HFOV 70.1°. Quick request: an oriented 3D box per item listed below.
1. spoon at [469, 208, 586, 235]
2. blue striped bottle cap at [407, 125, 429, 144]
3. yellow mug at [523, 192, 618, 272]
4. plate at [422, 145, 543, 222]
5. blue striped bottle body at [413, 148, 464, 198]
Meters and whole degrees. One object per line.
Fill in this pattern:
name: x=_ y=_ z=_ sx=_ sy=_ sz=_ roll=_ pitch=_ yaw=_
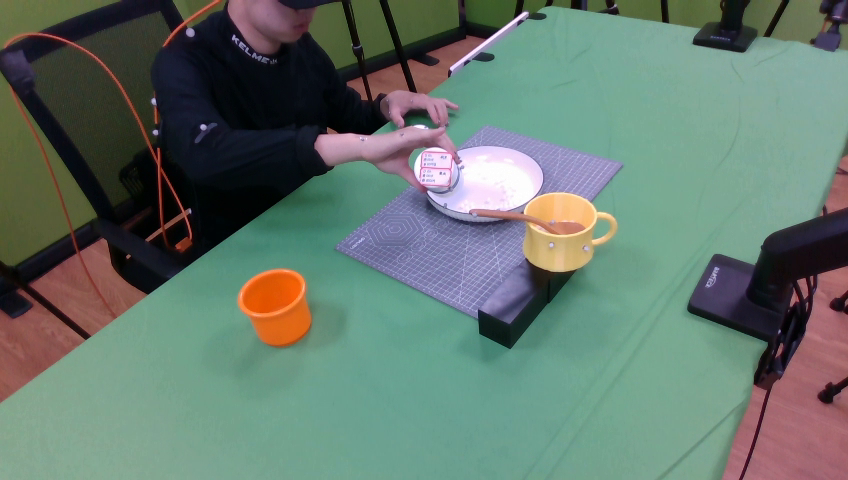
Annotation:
spoon: x=0.143 y=-0.026 z=0.817 sx=0.195 sy=0.021 sz=0.041 roll=12 pitch=35 yaw=-29
blue striped bottle cap: x=-0.012 y=-0.214 z=1.227 sx=0.044 sy=0.021 sz=0.044 roll=-5 pitch=37 yaw=5
yellow mug: x=0.206 y=-0.013 z=0.845 sx=0.131 sy=0.064 sz=0.099 roll=-4 pitch=40 yaw=2
plate: x=0.101 y=-0.094 z=1.048 sx=0.207 sy=0.039 sz=0.206 roll=-4 pitch=41 yaw=4
blue striped bottle body: x=0.027 y=-0.102 z=0.955 sx=0.063 sy=0.121 sz=0.063 roll=-1 pitch=84 yaw=13
